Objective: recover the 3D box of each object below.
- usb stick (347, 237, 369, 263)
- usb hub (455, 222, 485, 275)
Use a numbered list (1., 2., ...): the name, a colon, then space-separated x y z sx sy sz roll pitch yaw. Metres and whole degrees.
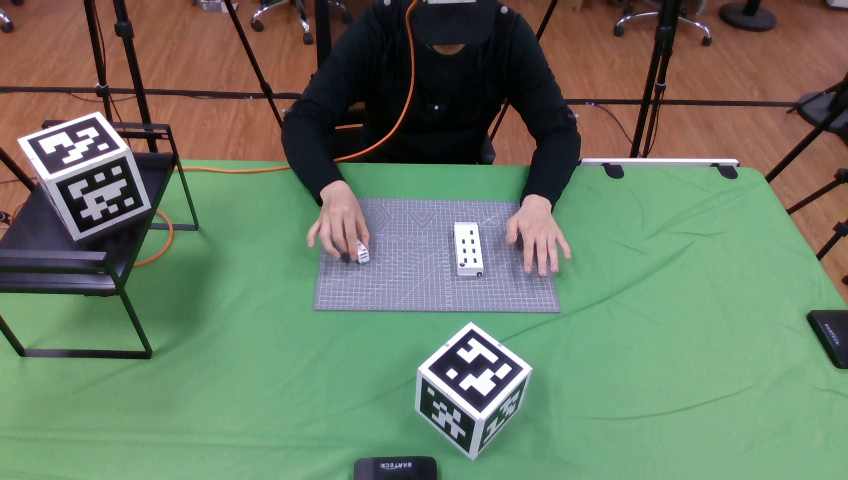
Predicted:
1. usb stick: -0.123 0.023 1.147 0.021 0.027 0.059 -35 46 1
2. usb hub: 0.087 0.015 1.178 0.049 0.025 0.124 0 45 -3
